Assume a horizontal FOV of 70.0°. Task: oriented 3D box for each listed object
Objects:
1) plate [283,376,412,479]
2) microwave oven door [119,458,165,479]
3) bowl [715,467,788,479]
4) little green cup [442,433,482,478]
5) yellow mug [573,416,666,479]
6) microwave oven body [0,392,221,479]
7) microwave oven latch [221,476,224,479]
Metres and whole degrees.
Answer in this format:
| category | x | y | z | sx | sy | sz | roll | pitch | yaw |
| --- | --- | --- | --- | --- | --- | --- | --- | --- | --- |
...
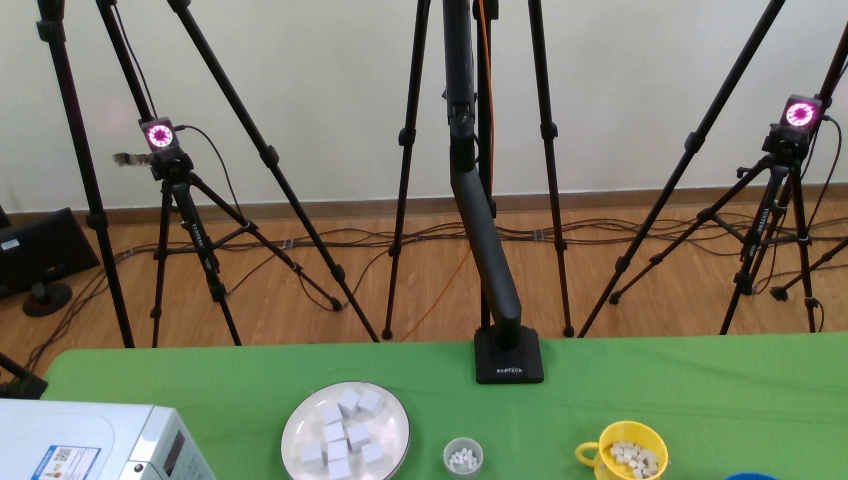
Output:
| category | x | y | z | sx | sy | sz | roll | pitch | yaw |
| --- | --- | --- | --- | --- | --- | --- | --- | --- | --- |
| plate | -0.122 | 0.318 | 0.986 | 0.207 | 0.039 | 0.205 | -2 | 42 | 2 |
| microwave oven door | -0.345 | 0.460 | 0.663 | 0.039 | 0.246 | 0.352 | 1 | 42 | 6 |
| bowl | 0.452 | 0.396 | 0.822 | 0.151 | 0.077 | 0.150 | -2 | 43 | 2 |
| little green cup | 0.060 | 0.339 | 0.947 | 0.061 | 0.039 | 0.061 | -2 | 42 | 3 |
| yellow mug | 0.294 | 0.325 | 0.923 | 0.130 | 0.064 | 0.099 | 6 | 43 | 12 |
| microwave oven body | -0.486 | 0.434 | 0.712 | 0.326 | 0.262 | 0.437 | 1 | 43 | 5 |
| microwave oven latch | -0.318 | 0.390 | 0.893 | 0.030 | 0.030 | 0.078 | 2 | 43 | 7 |
